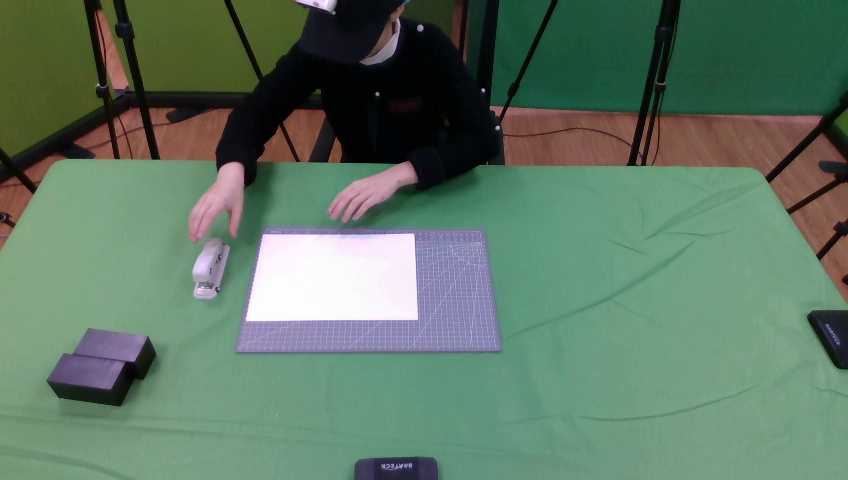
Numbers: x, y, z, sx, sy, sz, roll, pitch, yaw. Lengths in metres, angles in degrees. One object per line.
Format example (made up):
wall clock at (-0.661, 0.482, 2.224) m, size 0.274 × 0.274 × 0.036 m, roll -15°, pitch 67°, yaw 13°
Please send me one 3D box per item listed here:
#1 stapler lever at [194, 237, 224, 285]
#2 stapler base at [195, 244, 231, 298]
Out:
stapler lever at (-0.390, 0.031, 1.101) m, size 0.027 × 0.040 × 0.117 m, roll 2°, pitch 45°, yaw -4°
stapler base at (-0.391, 0.050, 1.118) m, size 0.041 × 0.024 × 0.129 m, roll 2°, pitch 45°, yaw -4°
